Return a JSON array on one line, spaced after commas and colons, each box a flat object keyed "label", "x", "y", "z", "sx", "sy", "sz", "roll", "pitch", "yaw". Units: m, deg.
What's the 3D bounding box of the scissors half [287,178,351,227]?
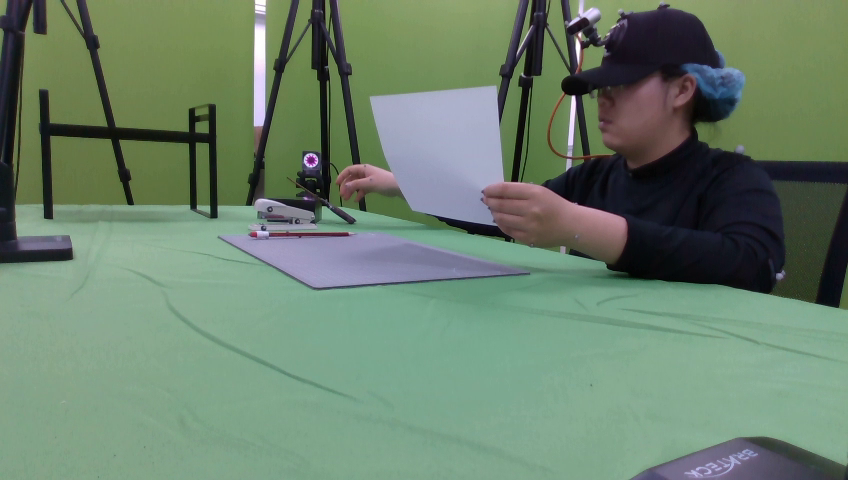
[{"label": "scissors half", "x": -0.232, "y": -0.085, "z": 1.318, "sx": 0.175, "sy": 0.013, "sz": 0.040, "roll": 38, "pitch": 22, "yaw": 4}]

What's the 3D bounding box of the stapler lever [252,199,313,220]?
[{"label": "stapler lever", "x": -0.273, "y": -0.058, "z": 1.170, "sx": 0.119, "sy": 0.040, "sz": 0.026, "roll": 0, "pitch": 10, "yaw": -37}]

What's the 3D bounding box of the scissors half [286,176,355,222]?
[{"label": "scissors half", "x": -0.229, "y": -0.091, "z": 1.337, "sx": 0.175, "sy": 0.013, "sz": 0.040, "roll": 33, "pitch": 17, "yaw": -13}]

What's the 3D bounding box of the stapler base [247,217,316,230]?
[{"label": "stapler base", "x": -0.276, "y": -0.033, "z": 1.172, "sx": 0.131, "sy": 0.024, "sz": 0.041, "roll": 0, "pitch": 10, "yaw": -37}]

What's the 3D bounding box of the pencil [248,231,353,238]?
[{"label": "pencil", "x": -0.206, "y": -0.009, "z": 1.039, "sx": 0.195, "sy": 0.012, "sz": 0.012, "roll": 0, "pitch": 8, "yaw": -36}]
